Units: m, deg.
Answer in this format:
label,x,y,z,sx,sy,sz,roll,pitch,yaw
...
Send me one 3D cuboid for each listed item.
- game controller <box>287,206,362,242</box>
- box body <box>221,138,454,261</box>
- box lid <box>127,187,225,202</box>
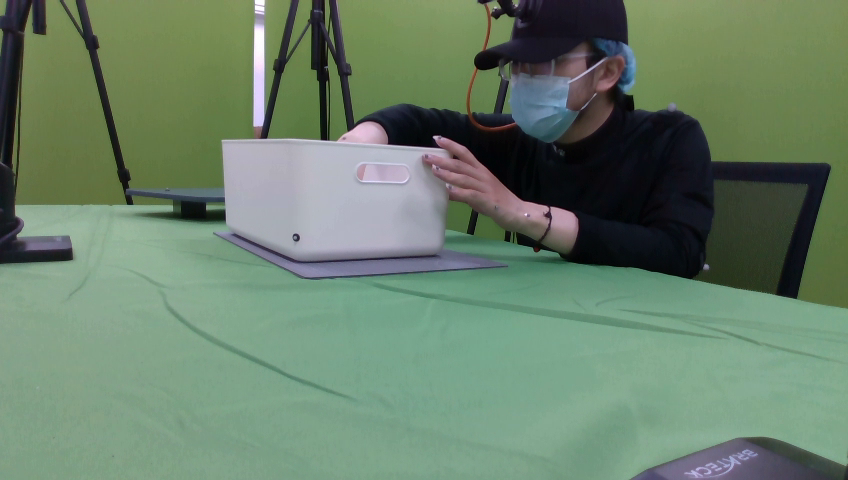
label,x,y,z,sx,sy,sz,roll,pitch,yaw
game controller,-0.163,-0.027,0.964,0.097,0.051,0.154,-7,6,-20
box body,-0.152,-0.074,0.963,0.255,0.160,0.362,-3,9,-33
box lid,-0.449,-0.106,1.393,0.262,0.015,0.373,6,8,28
